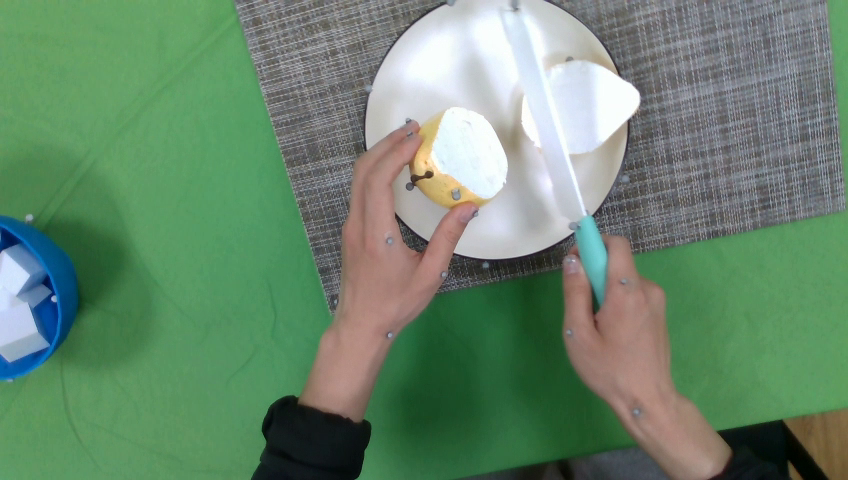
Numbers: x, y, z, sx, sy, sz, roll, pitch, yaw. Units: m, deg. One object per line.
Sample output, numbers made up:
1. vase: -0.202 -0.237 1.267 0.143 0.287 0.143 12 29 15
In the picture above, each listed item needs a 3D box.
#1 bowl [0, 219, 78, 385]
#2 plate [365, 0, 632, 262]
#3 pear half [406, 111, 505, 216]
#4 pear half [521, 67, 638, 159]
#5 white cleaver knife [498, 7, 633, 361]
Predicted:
1. bowl: -0.373 0.045 0.545 0.151 0.076 0.152 1 104 5
2. plate: 0.058 -0.086 0.490 0.207 0.039 0.208 1 104 5
3. pear half: 0.011 -0.049 0.441 0.056 0.110 0.076 -30 87 34
4. pear half: 0.121 -0.098 0.472 0.087 0.031 0.070 -3 96 20
5. white cleaver knife: 0.109 -0.032 0.455 0.021 0.065 0.288 -21 109 -2
